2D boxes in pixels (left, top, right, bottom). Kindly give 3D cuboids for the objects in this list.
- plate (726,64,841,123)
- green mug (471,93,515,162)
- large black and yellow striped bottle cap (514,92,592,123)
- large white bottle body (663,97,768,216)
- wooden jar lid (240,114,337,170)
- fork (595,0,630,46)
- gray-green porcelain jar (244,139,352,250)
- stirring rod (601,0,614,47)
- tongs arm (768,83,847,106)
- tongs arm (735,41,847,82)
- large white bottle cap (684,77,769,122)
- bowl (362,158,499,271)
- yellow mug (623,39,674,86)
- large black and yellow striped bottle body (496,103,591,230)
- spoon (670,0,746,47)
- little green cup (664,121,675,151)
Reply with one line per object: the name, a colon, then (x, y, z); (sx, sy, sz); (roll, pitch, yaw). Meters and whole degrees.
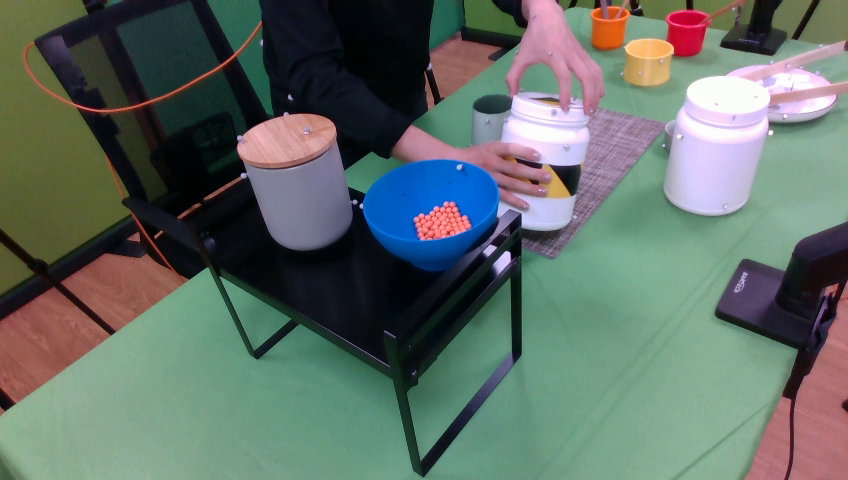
plate: (0.695, -0.282, 1.189); (0.207, 0.039, 0.206); (-4, 40, 4)
green mug: (0.143, -0.201, 1.122); (0.093, 0.105, 0.124); (-28, 45, -23)
large black and yellow striped bottle cap: (0.190, -0.197, 0.893); (0.115, 0.019, 0.114); (5, 26, -2)
large white bottle body: (0.458, -0.146, 0.952); (0.130, 0.185, 0.130); (-4, 40, 4)
wooden jar lid: (-0.149, -0.106, 0.673); (0.108, 0.021, 0.108); (-6, 38, 5)
fork: (0.480, -0.556, 1.452); (0.028, 0.019, 0.207); (40, 103, 37)
gray-green porcelain jar: (-0.144, -0.060, 0.714); (0.106, 0.127, 0.105); (-4, 41, 4)
stirring rod: (0.439, -0.552, 1.463); (0.014, 0.006, 0.175); (-7, 83, 3)
tongs arm: (0.738, -0.281, 1.134); (0.388, 0.028, 0.028); (-9, 47, -5)
tongs arm: (0.712, -0.332, 1.194); (0.386, 0.026, 0.050); (-19, 45, -16)
large white bottle cap: (0.448, -0.210, 0.898); (0.115, 0.018, 0.114); (-4, 40, 4)
bowl: (0.011, -0.019, 0.679); (0.151, 0.077, 0.150); (-5, 41, 5)
yellow mug: (0.484, -0.398, 1.333); (0.100, 0.064, 0.130); (-18, 41, -11)
large black and yellow striped bottle body: (0.180, -0.121, 0.928); (0.131, 0.184, 0.130); (6, 24, -2)
spoon: (0.629, -0.485, 1.350); (0.022, 0.193, 0.042); (47, 54, -7)
little green cup: (0.473, -0.188, 1.113); (0.061, 0.039, 0.061); (-5, 40, 4)
